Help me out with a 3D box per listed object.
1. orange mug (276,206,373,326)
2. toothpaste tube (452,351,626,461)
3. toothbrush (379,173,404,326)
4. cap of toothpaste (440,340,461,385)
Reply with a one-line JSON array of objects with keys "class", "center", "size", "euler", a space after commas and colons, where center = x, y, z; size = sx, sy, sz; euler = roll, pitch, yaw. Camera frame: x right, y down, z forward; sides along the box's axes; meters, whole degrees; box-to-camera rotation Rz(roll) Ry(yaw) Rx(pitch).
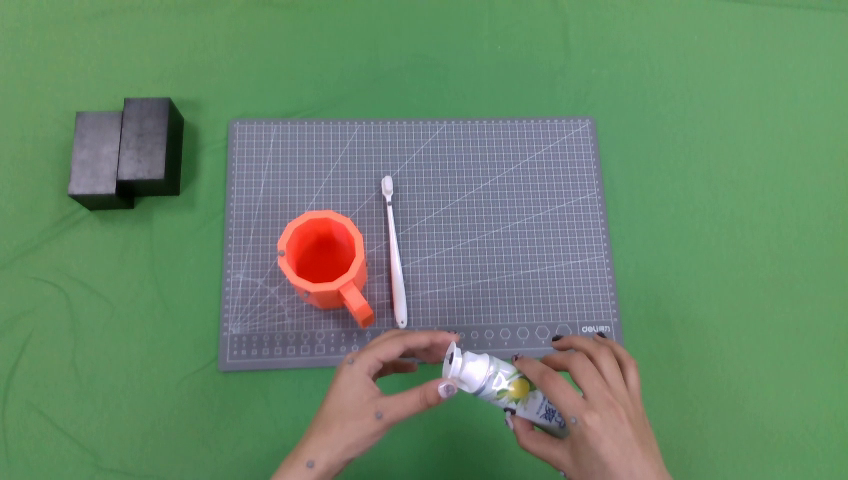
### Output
[{"class": "orange mug", "center": [-0.096, 0.034, 0.641], "size": [0.083, 0.101, 0.125], "euler": [-35, 75, -12]}, {"class": "toothpaste tube", "center": [0.095, 0.135, 0.512], "size": [0.166, 0.034, 0.055], "euler": [25, 88, -12]}, {"class": "toothbrush", "center": [-0.037, 0.008, 0.694], "size": [0.014, 0.016, 0.181], "euler": [-2, 76, -20]}, {"class": "cap of toothpaste", "center": [0.022, 0.100, 0.495], "size": [0.011, 0.037, 0.037], "euler": [12, 74, -6]}]
